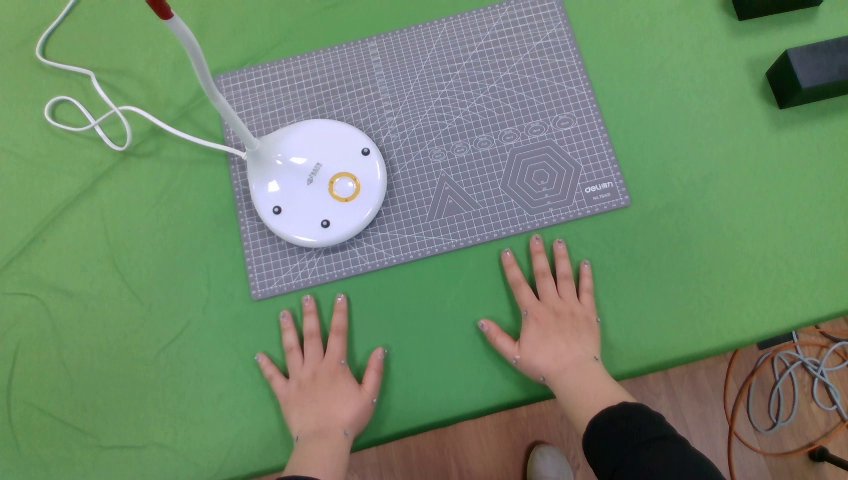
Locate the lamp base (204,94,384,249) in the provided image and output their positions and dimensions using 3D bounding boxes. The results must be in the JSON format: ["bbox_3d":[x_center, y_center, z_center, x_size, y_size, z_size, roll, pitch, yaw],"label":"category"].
[{"bbox_3d":[-0.146,-0.090,0.642,0.179,0.181,0.160,12,76,10],"label":"lamp base"}]
